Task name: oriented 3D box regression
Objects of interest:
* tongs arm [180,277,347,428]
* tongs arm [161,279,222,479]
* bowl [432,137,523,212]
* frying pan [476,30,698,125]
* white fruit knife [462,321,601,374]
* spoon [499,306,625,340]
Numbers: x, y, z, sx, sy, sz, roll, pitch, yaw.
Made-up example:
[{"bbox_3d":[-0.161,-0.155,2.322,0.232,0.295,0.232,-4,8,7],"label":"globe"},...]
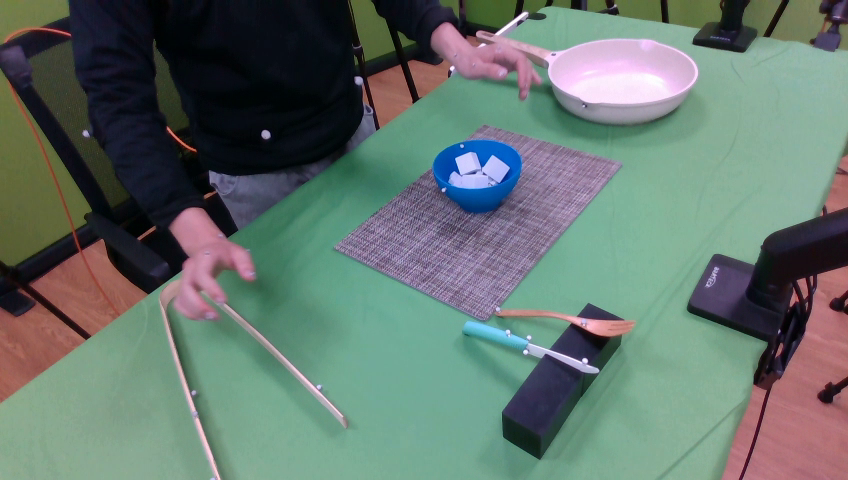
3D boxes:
[{"bbox_3d":[-0.231,0.141,0.832,0.384,0.028,0.028,30,55,35],"label":"tongs arm"},{"bbox_3d":[-0.296,0.174,0.797,0.051,0.026,0.381,-25,43,-21],"label":"tongs arm"},{"bbox_3d":[0.091,-0.100,1.022,0.151,0.077,0.150,-4,41,4],"label":"bowl"},{"bbox_3d":[0.321,-0.371,1.290,0.484,0.103,0.307,29,51,24],"label":"frying pan"},{"bbox_3d":[0.126,0.132,0.752,0.205,0.027,0.016,12,47,42],"label":"white fruit knife"},{"bbox_3d":[0.169,0.102,0.773,0.042,0.021,0.192,-10,13,-38],"label":"spoon"}]
